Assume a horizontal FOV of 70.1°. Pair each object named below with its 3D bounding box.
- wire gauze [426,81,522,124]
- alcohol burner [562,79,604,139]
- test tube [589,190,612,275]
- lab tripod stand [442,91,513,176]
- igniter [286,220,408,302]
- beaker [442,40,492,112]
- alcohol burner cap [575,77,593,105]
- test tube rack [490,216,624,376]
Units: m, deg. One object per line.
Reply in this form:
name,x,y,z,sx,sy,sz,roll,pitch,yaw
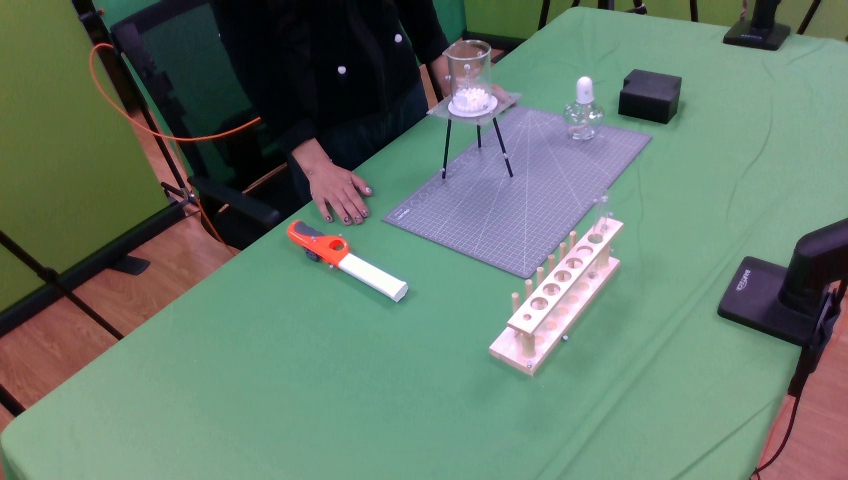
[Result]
wire gauze,0.088,-0.237,1.051,0.120,0.011,0.125,23,47,29
alcohol burner,0.303,-0.253,1.147,0.078,0.119,0.077,-4,41,4
test tube,0.238,-0.006,0.818,0.017,0.151,0.017,-3,43,4
lab tripod stand,0.096,-0.190,1.096,0.148,0.132,0.147,-4,40,4
igniter,-0.134,0.028,0.969,0.274,0.025,0.057,26,61,35
beaker,0.075,-0.275,1.023,0.083,0.101,0.074,5,41,15
alcohol burner cap,0.297,-0.279,1.123,0.034,0.048,0.033,-8,41,8
test tube rack,0.184,0.064,0.822,0.066,0.085,0.243,24,50,33
